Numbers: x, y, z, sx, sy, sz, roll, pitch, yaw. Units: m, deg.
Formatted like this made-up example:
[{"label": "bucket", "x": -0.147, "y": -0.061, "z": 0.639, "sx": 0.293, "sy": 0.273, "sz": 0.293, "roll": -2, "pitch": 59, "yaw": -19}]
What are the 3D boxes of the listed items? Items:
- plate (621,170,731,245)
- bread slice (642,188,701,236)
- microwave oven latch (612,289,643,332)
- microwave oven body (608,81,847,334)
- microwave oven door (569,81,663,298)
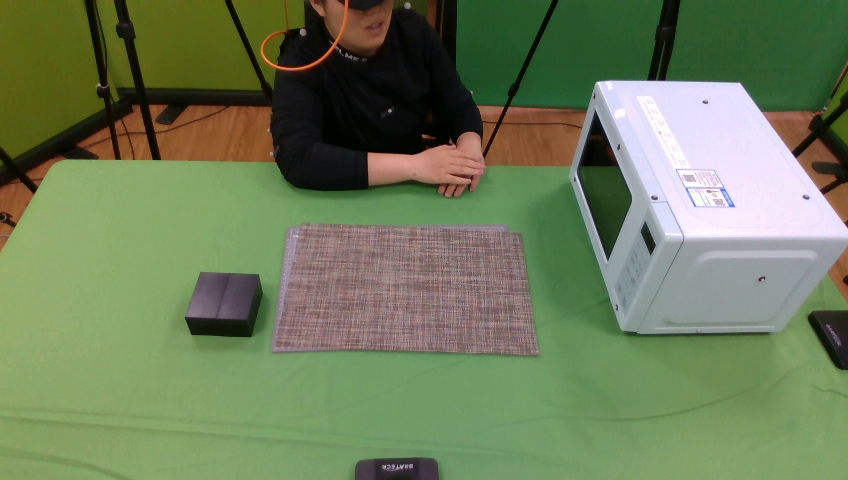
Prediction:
[{"label": "plate", "x": 0.490, "y": -0.060, "z": 1.194, "sx": 0.209, "sy": 0.038, "sz": 0.208, "roll": 3, "pitch": 45, "yaw": -2}, {"label": "bread slice", "x": 0.494, "y": -0.057, "z": 1.197, "sx": 0.105, "sy": 0.019, "sz": 0.131, "roll": 6, "pitch": 43, "yaw": 4}, {"label": "microwave oven latch", "x": 0.357, "y": 0.124, "z": 1.068, "sx": 0.030, "sy": 0.029, "sz": 0.078, "roll": 0, "pitch": 45, "yaw": -3}, {"label": "microwave oven body", "x": 0.501, "y": -0.070, "z": 1.132, "sx": 0.326, "sy": 0.261, "sz": 0.438, "roll": -1, "pitch": 45, "yaw": -4}, {"label": "microwave oven door", "x": 0.353, "y": -0.104, "z": 1.147, "sx": 0.039, "sy": 0.245, "sz": 0.353, "roll": 0, "pitch": 46, "yaw": -4}]
